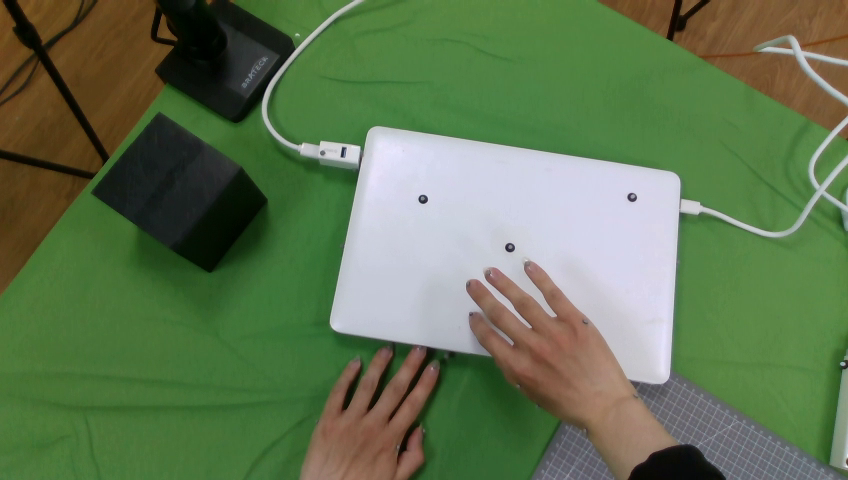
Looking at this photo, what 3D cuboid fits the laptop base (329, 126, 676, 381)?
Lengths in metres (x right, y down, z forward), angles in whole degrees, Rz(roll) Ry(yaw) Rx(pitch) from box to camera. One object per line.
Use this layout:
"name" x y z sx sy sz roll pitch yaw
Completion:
"laptop base" 0.090 0.010 0.661 0.354 0.023 0.234 9 78 1

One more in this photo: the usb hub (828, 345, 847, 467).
"usb hub" 0.455 0.174 0.625 0.049 0.025 0.124 16 77 3

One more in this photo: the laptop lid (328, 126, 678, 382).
"laptop lid" 0.090 0.008 0.644 0.357 0.013 0.240 10 76 1

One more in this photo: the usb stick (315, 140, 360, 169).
"usb stick" -0.088 -0.093 0.668 0.059 0.027 0.021 9 78 -5
